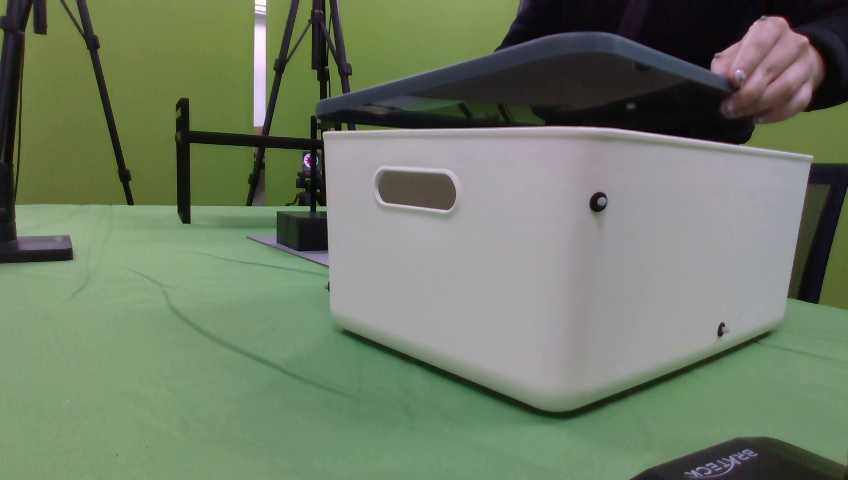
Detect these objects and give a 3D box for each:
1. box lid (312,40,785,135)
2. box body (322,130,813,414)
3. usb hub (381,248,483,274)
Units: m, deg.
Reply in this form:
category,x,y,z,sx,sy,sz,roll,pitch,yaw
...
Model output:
category,x,y,z,sx,sy,sz,roll,pitch,yaw
box lid,0.121,-0.111,0.523,0.373,0.015,0.262,-5,5,-45
box body,0.124,-0.001,0.509,0.366,0.160,0.253,-4,10,-41
usb hub,0.011,0.026,0.775,0.126,0.025,0.049,-1,8,-27
